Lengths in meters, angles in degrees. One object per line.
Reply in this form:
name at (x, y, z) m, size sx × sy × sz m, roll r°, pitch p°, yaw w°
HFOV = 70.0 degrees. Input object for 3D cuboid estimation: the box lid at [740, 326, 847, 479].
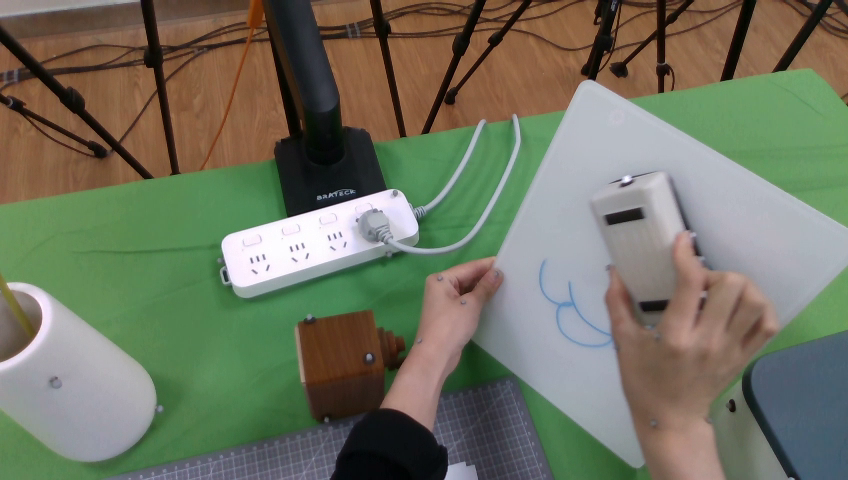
box lid at (0.412, 0.215, 0.409) m, size 0.264 × 0.015 × 0.367 m, roll -12°, pitch 59°, yaw -12°

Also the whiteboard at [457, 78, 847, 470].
whiteboard at (0.198, 0.023, 0.556) m, size 0.216 × 0.307 × 0.144 m, roll 37°, pitch 43°, yaw 19°

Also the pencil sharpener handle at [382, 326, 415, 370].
pencil sharpener handle at (-0.022, 0.101, 0.557) m, size 0.031 × 0.068 × 0.035 m, roll -9°, pitch 58°, yaw -10°

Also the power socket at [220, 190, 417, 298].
power socket at (-0.113, 0.002, 0.671) m, size 0.227 × 0.033 × 0.071 m, roll -17°, pitch 61°, yaw -15°

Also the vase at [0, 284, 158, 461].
vase at (-0.293, 0.111, 0.490) m, size 0.098 × 0.201 × 0.097 m, roll 1°, pitch 57°, yaw -1°

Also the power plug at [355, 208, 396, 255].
power plug at (-0.053, -0.002, 0.650) m, size 0.035 × 0.053 × 0.072 m, roll -8°, pitch 60°, yaw -9°

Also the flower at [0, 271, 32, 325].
flower at (-0.287, 0.051, 0.431) m, size 0.038 × 0.365 × 0.043 m, roll -22°, pitch 43°, yaw -25°

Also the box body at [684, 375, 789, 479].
box body at (0.408, 0.257, 0.471) m, size 0.255 × 0.161 × 0.360 m, roll -12°, pitch 59°, yaw -12°

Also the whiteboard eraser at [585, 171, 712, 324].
whiteboard eraser at (0.167, 0.006, 0.449) m, size 0.042 × 0.055 × 0.113 m, roll -35°, pitch 104°, yaw -42°

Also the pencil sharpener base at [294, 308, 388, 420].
pencil sharpener base at (-0.073, 0.115, 0.558) m, size 0.077 × 0.108 × 0.061 m, roll -9°, pitch 58°, yaw -10°
